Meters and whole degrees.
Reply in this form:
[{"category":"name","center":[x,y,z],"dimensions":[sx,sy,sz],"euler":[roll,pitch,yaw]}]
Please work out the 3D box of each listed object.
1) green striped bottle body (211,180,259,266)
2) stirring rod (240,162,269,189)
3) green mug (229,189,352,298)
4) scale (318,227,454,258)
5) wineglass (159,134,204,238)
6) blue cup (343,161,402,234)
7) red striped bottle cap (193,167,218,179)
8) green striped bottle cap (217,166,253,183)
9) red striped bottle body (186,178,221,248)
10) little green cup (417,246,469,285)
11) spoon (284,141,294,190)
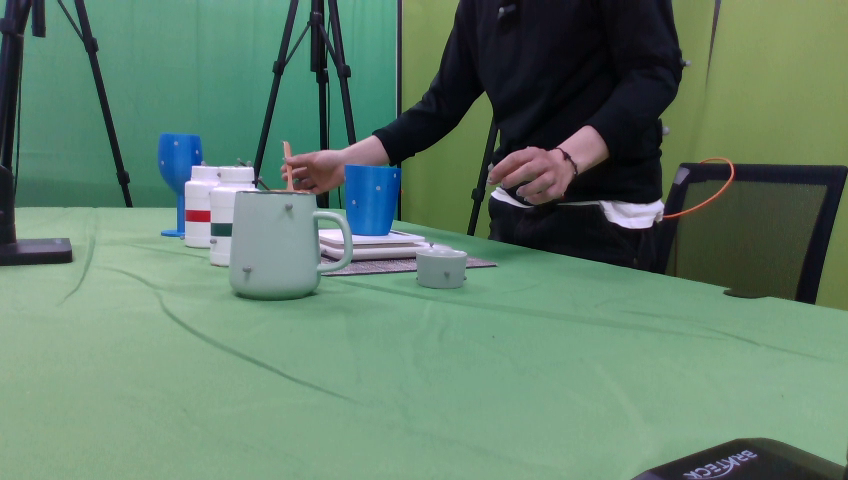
[{"category":"green striped bottle body","center":[-0.243,-0.029,0.784],"dimensions":[0.063,0.119,0.063],"euler":[2,7,0]},{"category":"stirring rod","center":[-0.302,-0.092,1.202],"dimensions":[0.014,0.006,0.177],"euler":[16,-28,51]},{"category":"green mug","center":[-0.135,0.002,0.618],"dimensions":[0.125,0.105,0.092],"euler":[2,7,4]},{"category":"scale","center":[-0.066,0.001,0.906],"dimensions":[0.202,0.031,0.148],"euler":[-2,8,-31]},{"category":"wineglass","center":[-0.415,-0.093,1.040],"dimensions":[0.074,0.172,0.073],"euler":[2,7,0]},{"category":"blue cup","center":[-0.078,-0.062,0.883],"dimensions":[0.093,0.100,0.092],"euler":[4,6,0]},{"category":"red striped bottle cap","center":[-0.329,-0.103,0.921],"dimensions":[0.044,0.017,0.044],"euler":[0,9,0]},{"category":"green striped bottle cap","center":[-0.242,-0.085,0.777],"dimensions":[0.044,0.020,0.044],"euler":[2,9,0]},{"category":"red striped bottle body","center":[-0.331,-0.050,0.927],"dimensions":[0.063,0.119,0.063],"euler":[2,6,0]},{"category":"little green cup","center":[0.021,0.029,0.701],"dimensions":[0.061,0.038,0.061],"euler":[1,6,0]},{"category":"spoon","center":[-0.274,-0.129,1.239],"dimensions":[0.042,0.193,0.021],"euler":[5,-31,-26]}]
